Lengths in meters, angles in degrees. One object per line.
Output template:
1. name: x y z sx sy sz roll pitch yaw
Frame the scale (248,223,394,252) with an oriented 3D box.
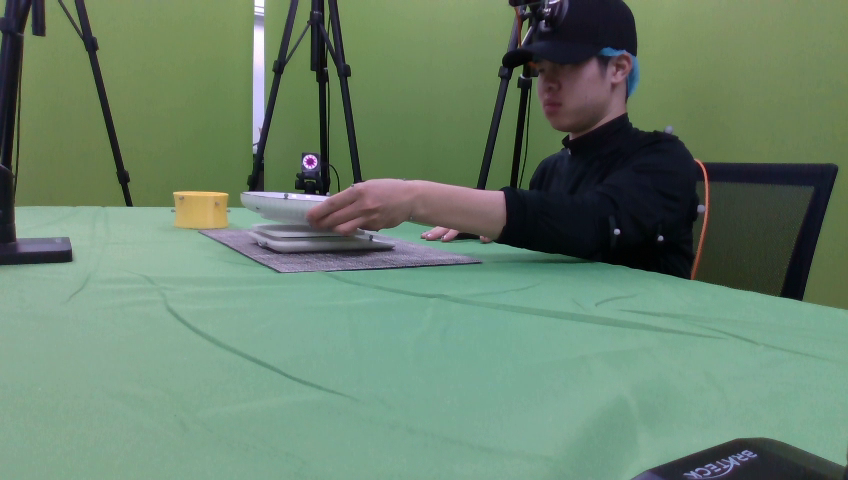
1. scale: -0.162 -0.007 0.954 0.202 0.031 0.148 -2 8 -32

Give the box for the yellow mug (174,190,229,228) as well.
1. yellow mug: -0.427 -0.063 1.189 0.100 0.064 0.131 5 7 14

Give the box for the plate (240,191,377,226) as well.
1. plate: -0.177 -0.049 0.933 0.209 0.038 0.209 5 6 0
